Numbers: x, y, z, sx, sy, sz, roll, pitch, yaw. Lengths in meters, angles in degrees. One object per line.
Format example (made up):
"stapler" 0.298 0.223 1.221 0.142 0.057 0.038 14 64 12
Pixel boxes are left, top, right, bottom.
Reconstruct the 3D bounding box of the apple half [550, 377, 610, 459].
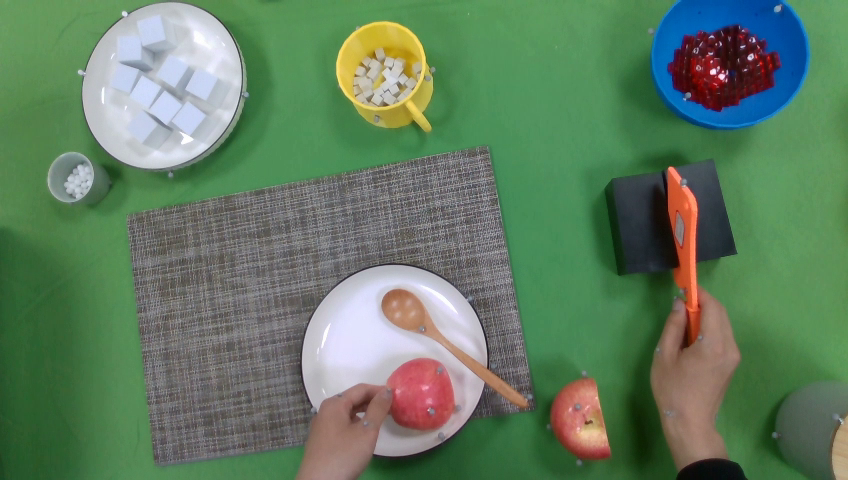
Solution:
"apple half" 0.157 0.185 0.625 0.053 0.075 0.080 -13 87 10

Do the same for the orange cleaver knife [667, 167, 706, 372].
"orange cleaver knife" 0.263 0.032 0.612 0.012 0.076 0.213 -11 111 7

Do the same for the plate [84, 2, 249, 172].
"plate" -0.308 -0.182 0.738 0.207 0.039 0.207 -1 85 8

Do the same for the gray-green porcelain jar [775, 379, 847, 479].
"gray-green porcelain jar" 0.401 0.187 0.564 0.106 0.127 0.105 -1 84 8

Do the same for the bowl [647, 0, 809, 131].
"bowl" 0.305 -0.179 0.635 0.151 0.077 0.151 -1 85 8

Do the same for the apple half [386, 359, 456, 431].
"apple half" 0.000 0.165 0.642 0.081 0.033 0.081 6 72 -17

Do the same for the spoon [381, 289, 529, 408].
"spoon" 0.031 0.118 0.648 0.192 0.022 0.041 37 90 20

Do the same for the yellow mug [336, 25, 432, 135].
"yellow mug" -0.034 -0.171 0.686 0.100 0.064 0.130 -39 82 2

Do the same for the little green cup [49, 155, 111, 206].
"little green cup" -0.418 -0.070 0.741 0.061 0.039 0.061 0 86 6

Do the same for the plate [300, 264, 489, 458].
"plate" -0.032 0.131 0.668 0.209 0.038 0.208 -1 86 7

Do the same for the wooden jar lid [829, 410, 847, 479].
"wooden jar lid" 0.392 0.179 0.503 0.108 0.021 0.108 0 87 7
